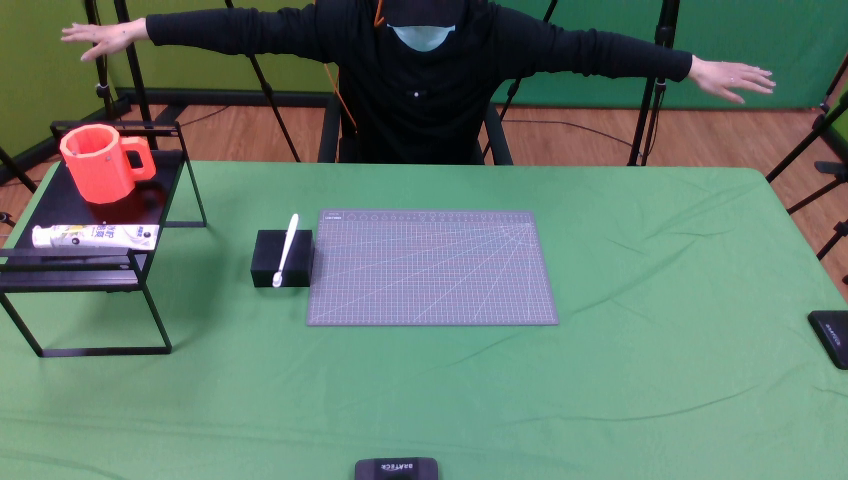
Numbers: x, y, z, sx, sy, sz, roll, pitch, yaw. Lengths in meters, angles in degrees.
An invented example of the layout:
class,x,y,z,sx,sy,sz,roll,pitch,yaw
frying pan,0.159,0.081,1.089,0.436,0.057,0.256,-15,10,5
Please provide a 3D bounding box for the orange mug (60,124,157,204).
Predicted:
class,x,y,z,sx,sy,sz,roll,pitch,yaw
orange mug,-0.505,-0.127,0.980,0.126,0.101,0.083,-13,48,-10

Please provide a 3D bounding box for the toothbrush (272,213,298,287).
class,x,y,z,sx,sy,sz,roll,pitch,yaw
toothbrush,-0.252,0.012,1.104,0.014,0.017,0.181,2,46,2

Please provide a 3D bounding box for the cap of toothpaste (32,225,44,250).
class,x,y,z,sx,sy,sz,roll,pitch,yaw
cap of toothpaste,-0.569,-0.004,0.898,0.011,0.037,0.037,-2,46,-11

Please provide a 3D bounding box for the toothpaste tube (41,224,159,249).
class,x,y,z,sx,sy,sz,roll,pitch,yaw
toothpaste tube,-0.491,-0.004,0.913,0.165,0.035,0.054,-2,50,-12
